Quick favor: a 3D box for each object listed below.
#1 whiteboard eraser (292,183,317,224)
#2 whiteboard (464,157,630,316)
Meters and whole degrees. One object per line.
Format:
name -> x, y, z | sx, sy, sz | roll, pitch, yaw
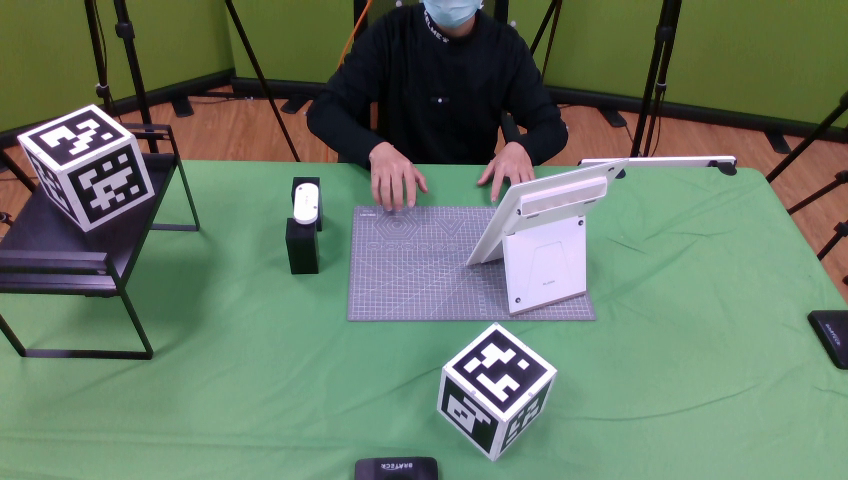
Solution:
whiteboard eraser -> -0.217, -0.068, 1.108 | 0.041, 0.019, 0.100 | -2, 46, -4
whiteboard -> 0.224, 0.014, 1.043 | 0.217, 0.306, 0.143 | -14, 68, -17
